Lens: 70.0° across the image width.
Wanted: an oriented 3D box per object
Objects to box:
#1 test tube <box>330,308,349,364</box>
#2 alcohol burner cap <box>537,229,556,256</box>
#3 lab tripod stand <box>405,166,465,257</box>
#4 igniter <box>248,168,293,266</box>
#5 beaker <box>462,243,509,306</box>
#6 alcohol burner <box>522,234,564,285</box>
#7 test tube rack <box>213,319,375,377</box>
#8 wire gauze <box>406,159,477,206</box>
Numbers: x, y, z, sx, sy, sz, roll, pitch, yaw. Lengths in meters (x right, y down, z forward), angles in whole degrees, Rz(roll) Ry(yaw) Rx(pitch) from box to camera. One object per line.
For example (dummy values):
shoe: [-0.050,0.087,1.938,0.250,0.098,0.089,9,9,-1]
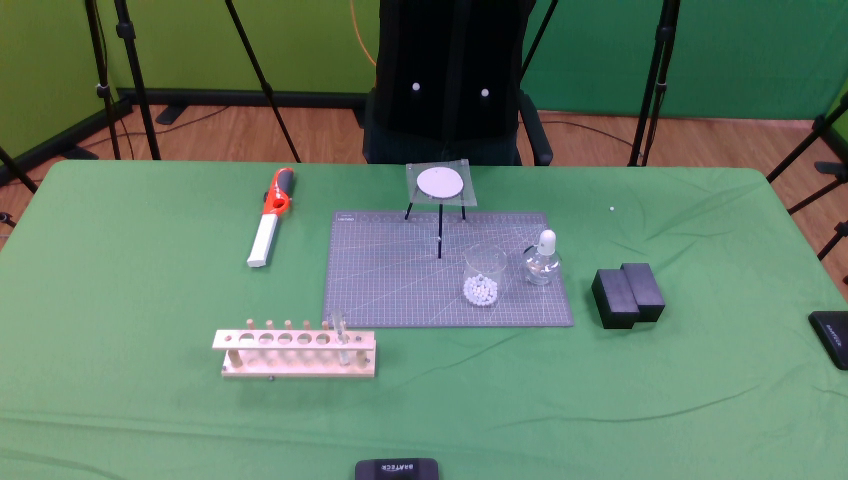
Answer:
test tube: [-0.129,0.151,0.931,0.017,0.151,0.017,1,50,0]
alcohol burner cap: [0.223,0.001,1.095,0.034,0.048,0.033,0,44,0]
lab tripod stand: [0.030,-0.063,1.180,0.148,0.132,0.147,3,47,-3]
igniter: [-0.308,-0.055,1.225,0.057,0.025,0.275,-3,45,6]
beaker: [0.105,0.064,1.086,0.084,0.101,0.073,18,47,14]
alcohol burner: [0.223,0.027,1.120,0.078,0.119,0.077,2,48,-2]
test tube rack: [-0.202,0.170,0.977,0.242,0.085,0.066,1,46,-3]
wire gauze: [0.031,-0.108,1.129,0.125,0.011,0.120,-1,48,-5]
